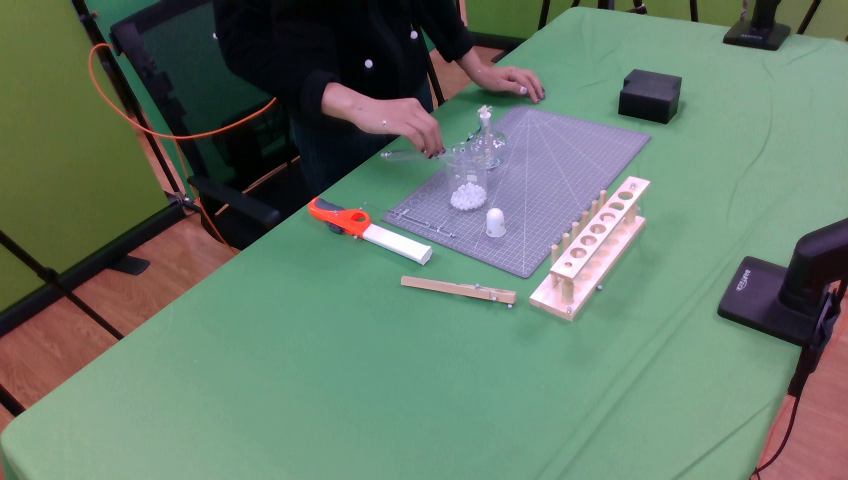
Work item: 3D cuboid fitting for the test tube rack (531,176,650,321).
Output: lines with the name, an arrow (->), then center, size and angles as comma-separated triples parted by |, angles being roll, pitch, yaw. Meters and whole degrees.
test tube rack -> 0.246, 0.002, 0.884 | 0.066, 0.085, 0.243 | 22, 49, 32

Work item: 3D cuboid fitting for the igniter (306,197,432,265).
igniter -> -0.102, -0.020, 1.019 | 0.274, 0.025, 0.057 | 23, 59, 32

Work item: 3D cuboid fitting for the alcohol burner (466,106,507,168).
alcohol burner -> 0.115, -0.193, 1.112 | 0.078, 0.119, 0.077 | -4, 41, 4

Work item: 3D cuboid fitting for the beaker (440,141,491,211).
beaker -> 0.074, -0.106, 1.028 | 0.084, 0.101, 0.073 | -2, 41, 8

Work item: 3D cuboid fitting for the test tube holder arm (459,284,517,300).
test tube holder arm -> 0.091, 0.077, 0.877 | 0.087, 0.015, 0.010 | 7, 10, 20

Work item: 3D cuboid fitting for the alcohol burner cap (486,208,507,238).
alcohol burner cap -> 0.116, -0.030, 0.975 | 0.034, 0.048, 0.033 | -6, 40, 5

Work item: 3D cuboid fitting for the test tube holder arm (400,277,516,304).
test tube holder arm -> 0.047, 0.073, 0.887 | 0.177, 0.015, 0.013 | 7, 10, 19

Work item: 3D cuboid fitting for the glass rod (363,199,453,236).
glass rod -> -0.031, -0.041, 1.041 | 0.198, 0.008, 0.008 | 22, 50, 31

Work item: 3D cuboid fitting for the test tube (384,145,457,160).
test tube -> -0.004, -0.135, 0.932 | 0.151, 0.017, 0.017 | -12, 32, -44
